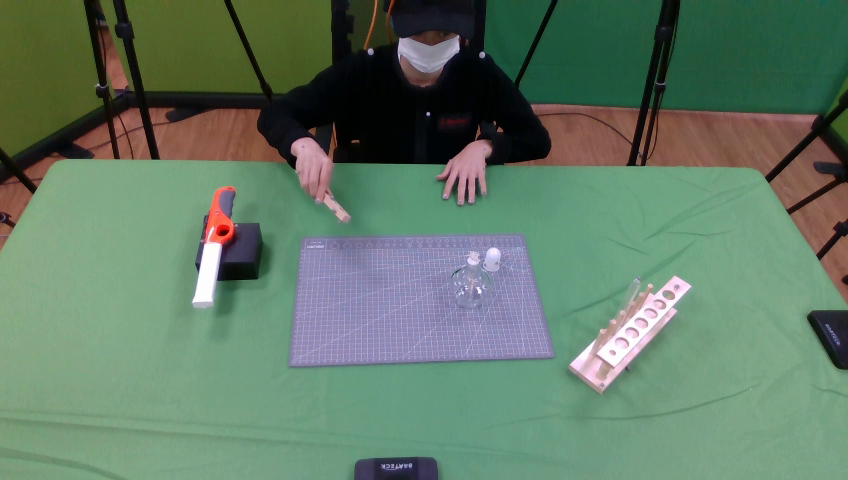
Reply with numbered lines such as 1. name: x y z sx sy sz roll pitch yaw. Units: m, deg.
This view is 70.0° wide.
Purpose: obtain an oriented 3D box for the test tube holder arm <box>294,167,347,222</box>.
1. test tube holder arm: -0.194 -0.087 1.123 0.177 0.013 0.015 43 100 34

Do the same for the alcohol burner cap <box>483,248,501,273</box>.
1. alcohol burner cap: 0.130 0.037 1.156 0.034 0.048 0.033 1 46 -1

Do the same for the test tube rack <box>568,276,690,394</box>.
1. test tube rack: 0.353 0.149 1.038 0.242 0.085 0.066 -34 56 -31

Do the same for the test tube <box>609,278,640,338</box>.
1. test tube: 0.331 0.115 1.007 0.017 0.151 0.017 2 45 -2

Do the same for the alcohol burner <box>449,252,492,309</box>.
1. alcohol burner: 0.084 0.066 1.073 0.078 0.120 0.077 1 44 -1

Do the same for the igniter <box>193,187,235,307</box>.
1. igniter: -0.379 0.003 1.096 0.057 0.025 0.274 -1 49 -6

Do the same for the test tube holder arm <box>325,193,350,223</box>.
1. test tube holder arm: -0.164 -0.060 1.102 0.087 0.010 0.015 43 100 34
